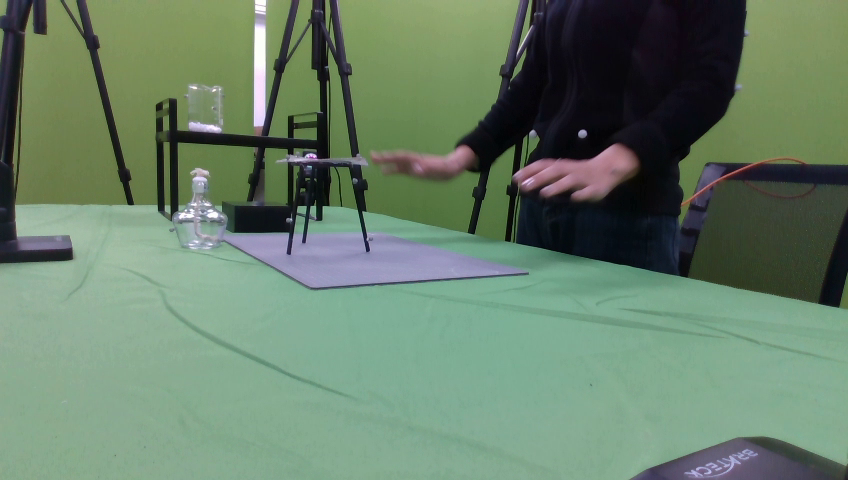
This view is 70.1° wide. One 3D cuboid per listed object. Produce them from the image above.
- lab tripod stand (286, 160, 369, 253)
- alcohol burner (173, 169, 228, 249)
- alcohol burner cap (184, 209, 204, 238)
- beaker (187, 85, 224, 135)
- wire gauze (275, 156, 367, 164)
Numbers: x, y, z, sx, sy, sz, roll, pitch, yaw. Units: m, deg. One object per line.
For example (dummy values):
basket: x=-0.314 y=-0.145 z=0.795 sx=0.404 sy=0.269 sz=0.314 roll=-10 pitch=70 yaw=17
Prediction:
lab tripod stand: x=-0.157 y=-0.053 z=0.901 sx=0.148 sy=0.131 sz=0.148 roll=0 pitch=7 yaw=0
alcohol burner: x=-0.333 y=-0.047 z=0.903 sx=0.078 sy=0.119 sz=0.078 roll=2 pitch=6 yaw=0
alcohol burner cap: x=-0.389 y=-0.029 z=1.025 sx=0.034 sy=0.048 sz=0.034 roll=2 pitch=9 yaw=0
beaker: x=-0.466 y=-0.276 z=1.296 sx=0.074 sy=0.100 sz=0.083 roll=-3 pitch=10 yaw=-35
wire gauze: x=-0.148 y=-0.119 z=0.895 sx=0.121 sy=0.011 sz=0.125 roll=1 pitch=7 yaw=-2
